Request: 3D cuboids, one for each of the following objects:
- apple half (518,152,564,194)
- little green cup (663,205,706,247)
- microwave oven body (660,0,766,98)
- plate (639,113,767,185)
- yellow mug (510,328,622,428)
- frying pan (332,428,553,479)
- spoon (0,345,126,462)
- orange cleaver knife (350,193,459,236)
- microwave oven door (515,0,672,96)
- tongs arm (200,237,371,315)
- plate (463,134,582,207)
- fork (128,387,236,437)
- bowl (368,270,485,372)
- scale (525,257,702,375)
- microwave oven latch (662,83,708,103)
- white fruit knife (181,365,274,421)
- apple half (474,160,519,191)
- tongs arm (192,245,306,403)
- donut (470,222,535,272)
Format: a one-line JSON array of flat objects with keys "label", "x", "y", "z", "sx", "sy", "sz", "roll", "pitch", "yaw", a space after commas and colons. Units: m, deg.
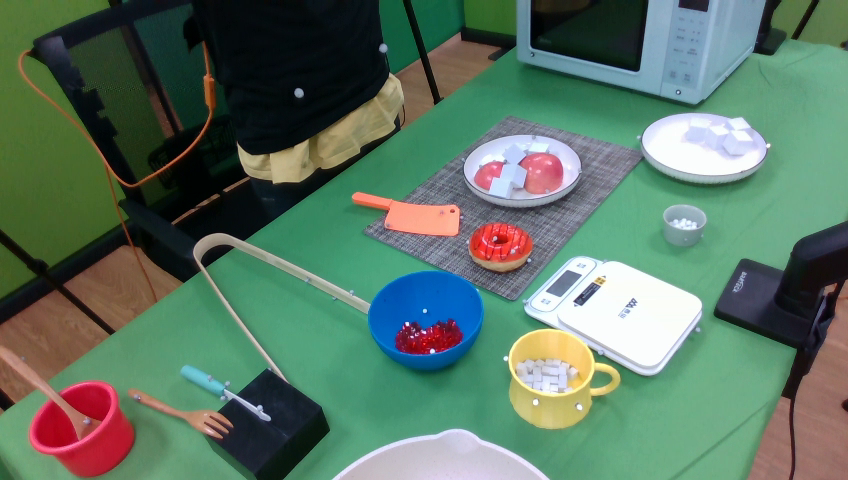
[{"label": "apple half", "x": 0.204, "y": -0.124, "z": 1.048, "sx": 0.075, "sy": 0.053, "sz": 0.080, "roll": -7, "pitch": 41, "yaw": -3}, {"label": "little green cup", "x": 0.396, "y": -0.020, "z": 0.926, "sx": 0.061, "sy": 0.039, "sz": 0.061, "roll": -4, "pitch": 40, "yaw": 4}, {"label": "microwave oven body", "x": 0.472, "y": -0.513, "z": 1.317, "sx": 0.438, "sy": 0.261, "sz": 0.327, "roll": 26, "pitch": 51, "yaw": 34}, {"label": "plate", "x": 0.489, "y": -0.157, "z": 1.074, "sx": 0.207, "sy": 0.039, "sz": 0.206, "roll": -4, "pitch": 40, "yaw": 4}, {"label": "yellow mug", "x": 0.168, "y": 0.164, "z": 0.722, "sx": 0.130, "sy": 0.064, "sz": 0.099, "roll": 0, "pitch": 40, "yaw": 8}, {"label": "frying pan", "x": -0.089, "y": 0.306, "z": 0.564, "sx": 0.487, "sy": 0.103, "sz": 0.306, "roll": 10, "pitch": 41, "yaw": 7}, {"label": "spoon", "x": -0.434, "y": 0.192, "z": 0.720, "sx": 0.194, "sy": 0.021, "sz": 0.042, "roll": 47, "pitch": 55, "yaw": -7}, {"label": "orange cleaver knife", "x": -0.037, "y": -0.044, "z": 1.028, "sx": 0.210, "sy": 0.012, "sz": 0.077, "roll": 10, "pitch": 49, "yaw": 17}, {"label": "microwave oven door", "x": 0.343, "y": -0.454, "z": 1.259, "sx": 0.353, "sy": 0.245, "sz": 0.039, "roll": 26, "pitch": 51, "yaw": 33}, {"label": "tongs arm", "x": -0.209, "y": 0.063, "z": 0.924, "sx": 0.381, "sy": 0.026, "sz": 0.051, "roll": 22, "pitch": 53, "yaw": 32}, {"label": "plate", "x": 0.173, "y": -0.119, "z": 1.070, "sx": 0.209, "sy": 0.038, "sz": 0.208, "roll": -4, "pitch": 40, "yaw": 4}, {"label": "fork", "x": -0.305, "y": 0.207, "z": 0.744, "sx": 0.206, "sy": 0.019, "sz": 0.028, "roll": 3, "pitch": 41, "yaw": 36}, {"label": "bowl", "x": 0.007, "y": 0.118, "z": 0.791, "sx": 0.151, "sy": 0.077, "sz": 0.150, "roll": -4, "pitch": 40, "yaw": 4}, {"label": "scale", "x": 0.254, "y": 0.091, "z": 0.821, "sx": 0.199, "sy": 0.032, "sz": 0.149, "roll": 28, "pitch": 51, "yaw": 35}, {"label": "microwave oven latch", "x": 0.517, "y": -0.296, "z": 1.204, "sx": 0.078, "sy": 0.029, "sz": 0.030, "roll": 28, "pitch": 52, "yaw": 35}, {"label": "white fruit knife", "x": -0.245, "y": 0.187, "z": 0.747, "sx": 0.205, "sy": 0.027, "sz": 0.016, "roll": 9, "pitch": 41, "yaw": 40}, {"label": "apple half", "x": 0.130, "y": -0.120, "z": 1.068, "sx": 0.081, "sy": 0.033, "sz": 0.081, "roll": -3, "pitch": 37, "yaw": 3}, {"label": "tongs arm", "x": -0.267, "y": 0.111, "z": 0.883, "sx": 0.028, "sy": 0.028, "sz": 0.384, "roll": -36, "pitch": 47, "yaw": -18}, {"label": "donut", "x": 0.119, "y": 0.009, "z": 0.923, "sx": 0.099, "sy": 0.048, "sz": 0.098, "roll": -4, "pitch": 38, "yaw": 3}]
